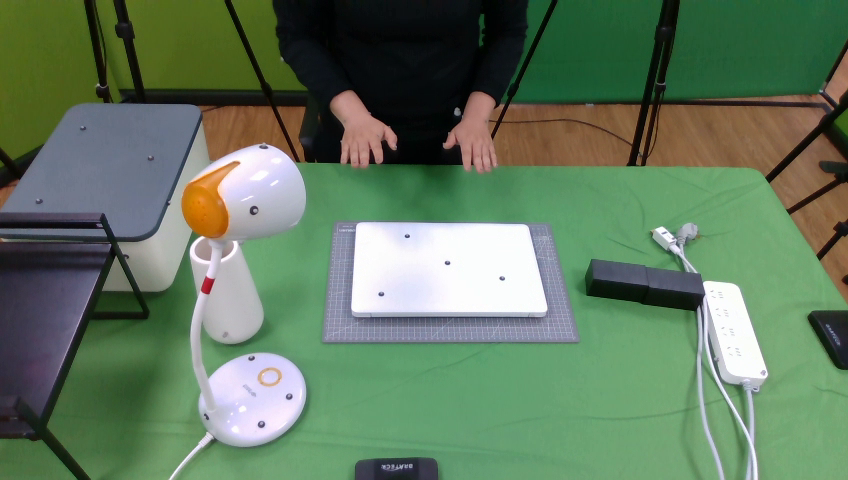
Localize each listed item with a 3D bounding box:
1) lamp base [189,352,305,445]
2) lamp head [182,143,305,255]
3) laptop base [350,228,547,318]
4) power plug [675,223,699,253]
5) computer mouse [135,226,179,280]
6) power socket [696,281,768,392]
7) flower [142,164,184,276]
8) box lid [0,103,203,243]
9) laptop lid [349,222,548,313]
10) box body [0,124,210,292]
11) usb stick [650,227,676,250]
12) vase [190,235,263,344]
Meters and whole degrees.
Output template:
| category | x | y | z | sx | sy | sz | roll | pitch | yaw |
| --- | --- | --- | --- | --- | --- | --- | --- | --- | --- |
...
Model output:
| category | x | y | z | sx | sy | sz | roll | pitch | yaw |
| --- | --- | --- | --- | --- | --- | --- | --- | --- | --- |
| lamp base | -0.268 | 0.197 | 0.876 | 0.160 | 0.181 | 0.179 | 25 | 52 | 20 |
| lamp head | -0.216 | -0.044 | 0.697 | 0.112 | 0.113 | 0.123 | 23 | 31 | 17 |
| laptop base | 0.041 | 0.056 | 1.149 | 0.355 | 0.023 | 0.234 | 0 | 42 | -4 |
| power plug | 0.538 | 0.000 | 1.244 | 0.053 | 0.035 | 0.072 | 18 | 82 | -17 |
| computer mouse | -0.493 | 0.020 | 1.118 | 0.063 | 0.041 | 0.116 | 1 | 54 | -10 |
| power socket | 0.543 | 0.161 | 1.077 | 0.072 | 0.033 | 0.225 | 5 | 46 | 2 |
| flower | -0.492 | -0.056 | 1.172 | 0.044 | 0.038 | 0.359 | -40 | 34 | 19 |
| box lid | -0.563 | -0.132 | 1.079 | 0.263 | 0.015 | 0.369 | 1 | 46 | -3 |
| laptop lid | 0.042 | 0.046 | 1.142 | 0.357 | 0.013 | 0.240 | 2 | 44 | -3 |
| box body | -0.567 | -0.082 | 1.133 | 0.254 | 0.161 | 0.361 | 2 | 46 | -3 |
| usb stick | 0.485 | -0.007 | 1.238 | 0.021 | 0.027 | 0.059 | -22 | 43 | -14 |
| vase | -0.317 | 0.081 | 0.971 | 0.098 | 0.201 | 0.097 | 3 | 47 | -3 |
